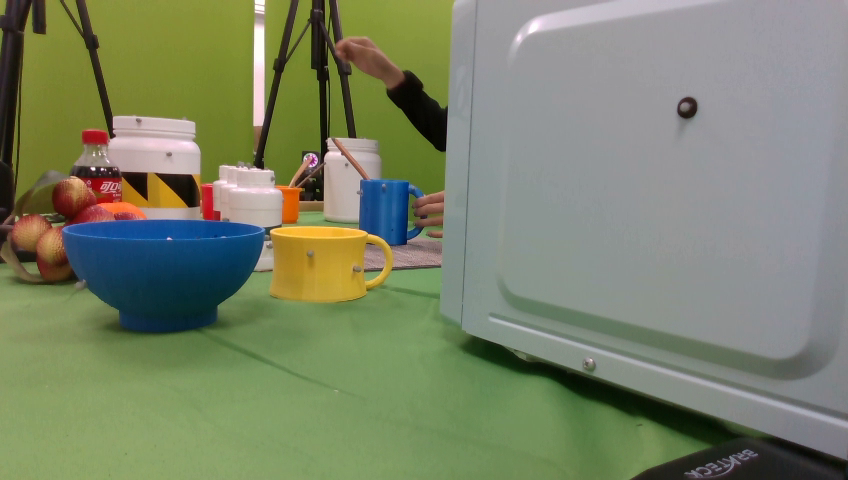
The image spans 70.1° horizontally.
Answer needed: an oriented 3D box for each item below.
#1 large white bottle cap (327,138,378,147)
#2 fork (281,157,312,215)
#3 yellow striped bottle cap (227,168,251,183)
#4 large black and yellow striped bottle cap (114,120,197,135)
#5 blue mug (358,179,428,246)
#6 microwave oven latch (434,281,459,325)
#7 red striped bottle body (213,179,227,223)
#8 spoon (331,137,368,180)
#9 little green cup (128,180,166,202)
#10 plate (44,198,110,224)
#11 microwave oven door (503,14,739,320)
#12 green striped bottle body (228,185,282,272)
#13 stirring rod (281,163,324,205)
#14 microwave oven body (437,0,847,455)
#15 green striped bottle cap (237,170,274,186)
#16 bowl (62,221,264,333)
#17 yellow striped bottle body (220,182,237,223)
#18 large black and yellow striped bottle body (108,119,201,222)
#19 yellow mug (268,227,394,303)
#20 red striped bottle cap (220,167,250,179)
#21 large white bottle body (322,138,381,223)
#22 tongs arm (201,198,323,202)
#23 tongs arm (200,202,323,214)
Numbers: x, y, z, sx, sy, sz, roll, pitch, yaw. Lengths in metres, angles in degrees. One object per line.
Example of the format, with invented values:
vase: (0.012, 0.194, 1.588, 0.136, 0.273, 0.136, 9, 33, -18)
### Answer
large white bottle cap: (-0.160, -0.218, 1.357, 0.115, 0.018, 0.115, 2, 8, 0)
fork: (-0.289, -0.116, 1.321, 0.028, 0.019, 0.207, 6, 51, 19)
yellow striped bottle cap: (-0.243, -0.087, 0.818, 0.044, 0.018, 0.044, 3, 6, 0)
large black and yellow striped bottle cap: (-0.407, -0.171, 0.920, 0.115, 0.019, 0.115, 2, 9, 0)
blue mug: (-0.052, -0.046, 1.007, 0.116, 0.106, 0.082, 3, 8, 6)
microwave oven latch: (0.044, 0.045, 0.470, 0.079, 0.029, 0.030, -2, 8, -39)
red striped bottle body: (-0.284, -0.048, 0.909, 0.063, 0.119, 0.063, 3, 10, 0)
spoon: (-0.096, -0.092, 1.010, 0.021, 0.194, 0.041, -30, 5, 16)
little green cup: (-0.485, -0.087, 1.062, 0.061, 0.038, 0.061, -1, 6, 0)
plate: (-0.617, -0.056, 1.179, 0.209, 0.038, 0.209, 3, 7, 0)
microwave oven door: (0.218, -0.065, 0.600, 0.358, 0.243, 0.039, -4, 10, -41)
green striped bottle body: (-0.208, -0.023, 0.745, 0.063, 0.119, 0.063, 2, 7, 0)
stirring rod: (-0.278, -0.105, 1.293, 0.176, 0.006, 0.014, -47, 24, -18)
microwave oven body: (0.279, -0.040, 0.464, 0.444, 0.260, 0.324, -3, 9, -41)
green striped bottle cap: (-0.205, -0.075, 0.737, 0.044, 0.020, 0.044, 2, 5, 0)
bowl: (-0.209, 0.029, 0.496, 0.151, 0.077, 0.151, 2, 7, 0)
yellow striped bottle body: (-0.246, -0.036, 0.825, 0.063, 0.120, 0.063, 3, 8, 0)
large black and yellow striped bottle body: (-0.412, -0.088, 0.930, 0.131, 0.184, 0.130, 3, 7, 0)
yellow mug: (-0.094, 0.023, 0.629, 0.131, 0.064, 0.099, 0, 6, -22)
red striped bottle cap: (-0.281, -0.100, 0.901, 0.044, 0.017, 0.044, -1, 5, 0)
large white bottle body: (-0.163, -0.135, 1.368, 0.131, 0.184, 0.130, 2, 7, 0)
tongs arm: (-0.432, -0.090, 1.507, 0.390, 0.028, 0.028, -1, 2, -30)
tongs arm: (-0.378, -0.079, 1.440, 0.387, 0.026, 0.050, -4, 8, -44)
